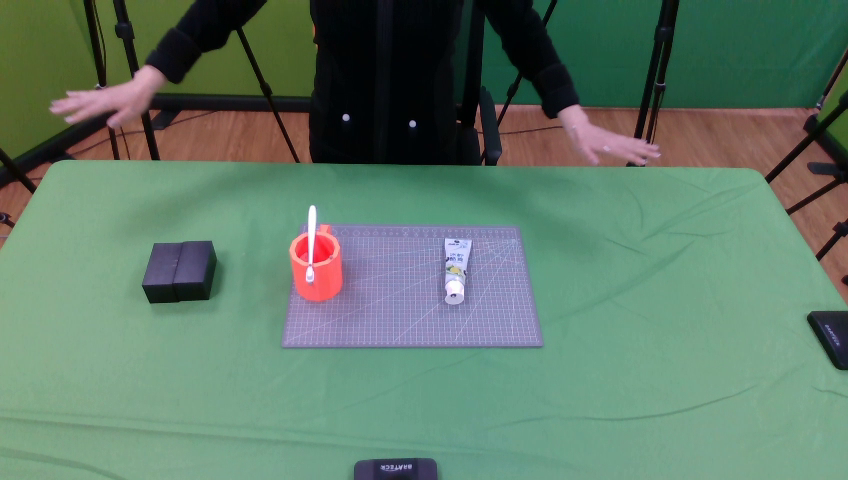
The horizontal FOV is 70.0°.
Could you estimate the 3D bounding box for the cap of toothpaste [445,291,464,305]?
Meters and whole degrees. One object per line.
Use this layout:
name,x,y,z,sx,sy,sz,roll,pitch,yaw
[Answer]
cap of toothpaste,0.054,0.103,1.088,0.037,0.037,0.011,-4,48,-7

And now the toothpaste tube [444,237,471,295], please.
toothpaste tube,0.061,0.049,1.149,0.055,0.034,0.164,9,42,-3

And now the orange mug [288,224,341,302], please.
orange mug,-0.192,0.034,1.094,0.083,0.101,0.125,7,50,2

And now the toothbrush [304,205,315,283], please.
toothbrush,-0.199,0.001,1.052,0.014,0.017,0.180,-5,46,-4
